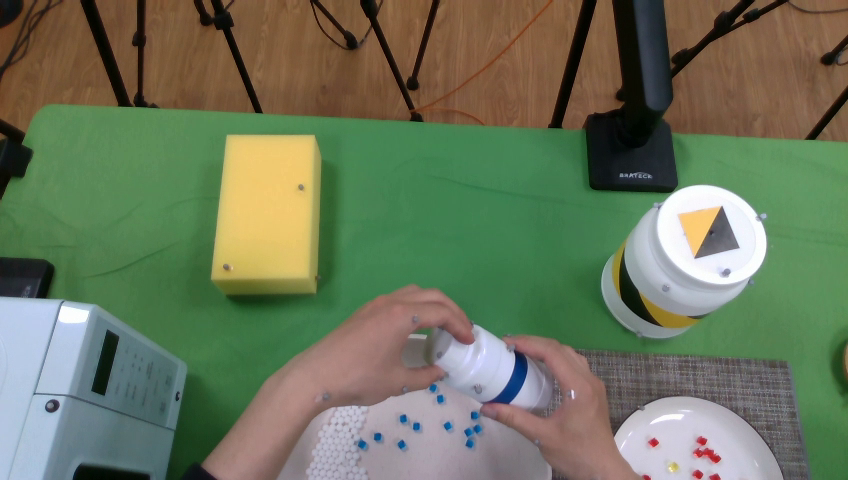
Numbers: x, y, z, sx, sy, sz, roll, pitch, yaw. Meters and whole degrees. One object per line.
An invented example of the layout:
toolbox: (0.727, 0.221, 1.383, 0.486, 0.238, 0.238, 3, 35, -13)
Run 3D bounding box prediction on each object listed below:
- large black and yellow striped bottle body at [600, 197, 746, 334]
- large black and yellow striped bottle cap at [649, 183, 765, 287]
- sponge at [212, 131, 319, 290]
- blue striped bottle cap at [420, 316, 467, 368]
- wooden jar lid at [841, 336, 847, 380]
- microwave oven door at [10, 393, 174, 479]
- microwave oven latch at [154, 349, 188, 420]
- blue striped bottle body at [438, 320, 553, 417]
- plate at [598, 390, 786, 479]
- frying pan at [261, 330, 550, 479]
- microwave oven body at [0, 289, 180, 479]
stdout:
large black and yellow striped bottle body: (0.295, 0.027, 0.714, 0.131, 0.185, 0.130, 0, 67, -1)
large black and yellow striped bottle cap: (0.296, -0.007, 0.634, 0.115, 0.019, 0.114, 0, 66, -1)
sponge: (-0.203, -0.040, 0.795, 0.118, 0.061, 0.205, -2, 68, -2)
blue striped bottle cap: (0.017, 0.092, 0.545, 0.021, 0.044, 0.044, 34, 64, -30)
wooden jar lid: (0.573, 0.158, 0.755, 0.108, 0.021, 0.107, 0, 69, -1)
microwave oven door: (-0.311, 0.327, 0.523, 0.039, 0.245, 0.353, 3, 67, 0)
microwave oven latch: (-0.296, 0.166, 0.700, 0.030, 0.030, 0.078, 6, 68, 1)
blue striped bottle body: (0.059, 0.117, 0.570, 0.122, 0.063, 0.062, 31, 65, -28)
plate: (0.299, 0.276, 0.685, 0.209, 0.038, 0.207, 0, 67, -1)
frying pan: (-0.024, 0.337, 0.618, 0.307, 0.103, 0.483, 2, 59, 2)
microwave oven body: (-0.453, 0.282, 0.544, 0.326, 0.262, 0.438, 4, 68, 0)
